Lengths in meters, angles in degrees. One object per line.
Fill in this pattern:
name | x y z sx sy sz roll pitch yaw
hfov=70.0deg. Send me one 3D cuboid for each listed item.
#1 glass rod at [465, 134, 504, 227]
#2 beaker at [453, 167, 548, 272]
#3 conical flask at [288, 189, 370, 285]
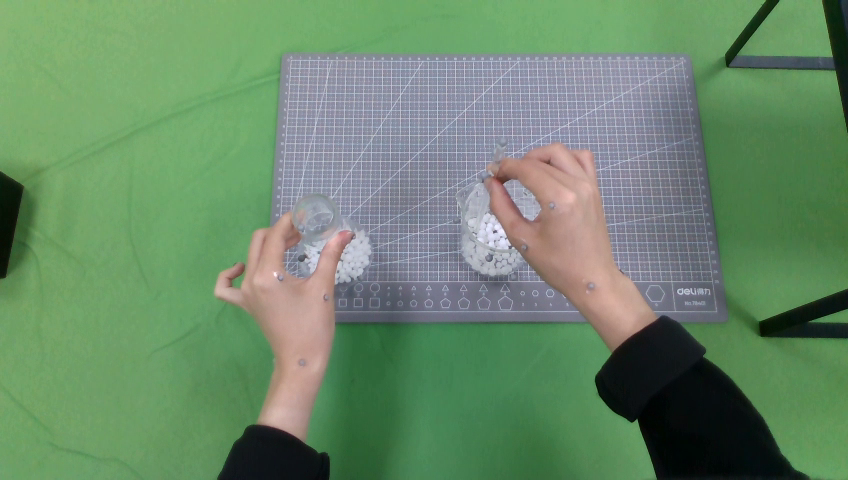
glass rod | 0.048 -0.043 0.508 0.008 0.200 0.008 1 74 -2
beaker | 0.065 -0.015 0.562 0.084 0.101 0.073 23 74 8
conical flask | -0.091 -0.008 0.547 0.075 0.122 0.075 0 73 0
